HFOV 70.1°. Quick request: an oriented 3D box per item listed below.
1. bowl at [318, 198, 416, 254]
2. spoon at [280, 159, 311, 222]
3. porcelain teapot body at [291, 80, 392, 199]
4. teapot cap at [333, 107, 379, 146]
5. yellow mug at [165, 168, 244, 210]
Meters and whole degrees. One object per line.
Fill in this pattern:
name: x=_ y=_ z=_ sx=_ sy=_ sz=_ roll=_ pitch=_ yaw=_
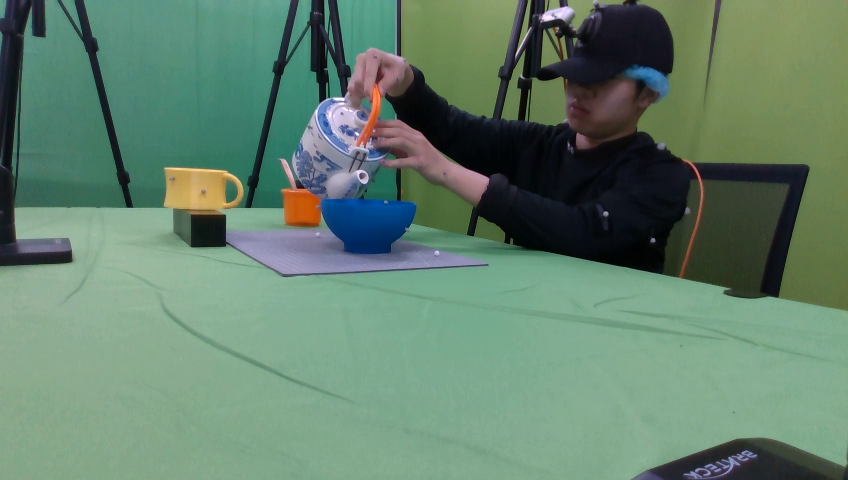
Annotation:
bowl: x=-0.089 y=-0.022 z=0.941 sx=0.151 sy=0.077 sz=0.151 roll=2 pitch=8 yaw=0
spoon: x=-0.285 y=-0.111 z=1.320 sx=0.042 sy=0.193 sz=0.021 roll=-2 pitch=-36 yaw=-32
porcelain teapot body: x=-0.127 y=-0.152 z=1.037 sx=0.146 sy=0.204 sz=0.224 roll=9 pitch=-37 yaw=-29
teapot cap: x=-0.113 y=-0.196 z=1.024 sx=0.085 sy=0.085 sz=0.043 roll=-3 pitch=-28 yaw=-39
yellow mug: x=-0.370 y=-0.086 z=1.027 sx=0.131 sy=0.064 sz=0.100 roll=5 pitch=7 yaw=4
